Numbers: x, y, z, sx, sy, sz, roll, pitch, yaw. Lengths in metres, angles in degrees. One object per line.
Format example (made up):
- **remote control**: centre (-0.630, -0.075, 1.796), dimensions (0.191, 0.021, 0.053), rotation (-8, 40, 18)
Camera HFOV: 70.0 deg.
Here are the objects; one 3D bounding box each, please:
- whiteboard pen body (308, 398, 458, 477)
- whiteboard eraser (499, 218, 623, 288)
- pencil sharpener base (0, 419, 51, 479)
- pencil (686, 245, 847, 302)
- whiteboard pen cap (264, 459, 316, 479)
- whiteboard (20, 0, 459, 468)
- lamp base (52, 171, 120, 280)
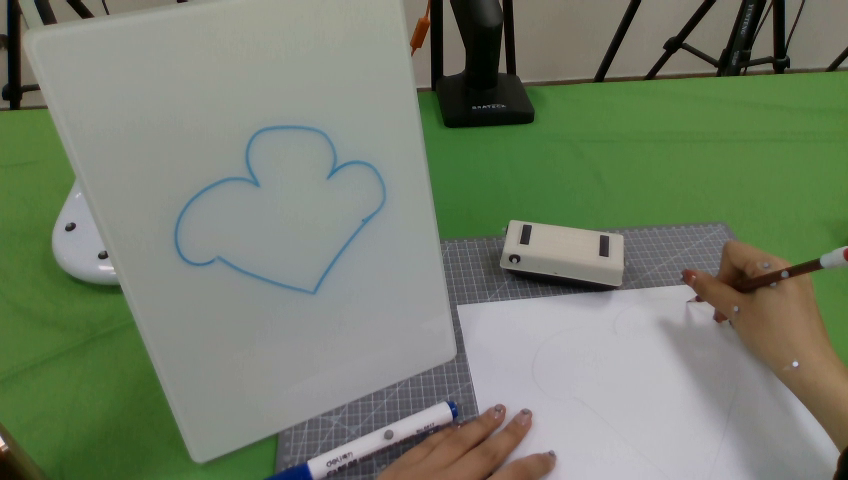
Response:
- **whiteboard pen body**: centre (-0.039, 0.147, 0.439), dimensions (0.141, 0.017, 0.017), rotation (-18, 45, -18)
- **whiteboard eraser**: centre (0.131, 0.013, 0.576), dimensions (0.112, 0.042, 0.055), rotation (9, 43, 9)
- **pencil sharpener base**: centre (-0.279, 0.158, 0.366), dimensions (0.061, 0.108, 0.076), rotation (32, 51, 30)
- **pencil**: centre (0.256, 0.031, 0.467), dimensions (0.012, 0.194, 0.012), rotation (2, 74, -8)
- **whiteboard pen cap**: centre (-0.093, 0.165, 0.420), dimensions (0.033, 0.018, 0.018), rotation (-19, 45, -19)
- **whiteboard**: centre (-0.117, -0.026, 0.468), dimensions (0.218, 0.307, 0.142), rotation (-18, 26, -18)
- **lamp base**: centre (-0.301, -0.079, 0.573), dimensions (0.178, 0.182, 0.160), rotation (25, 47, 28)
